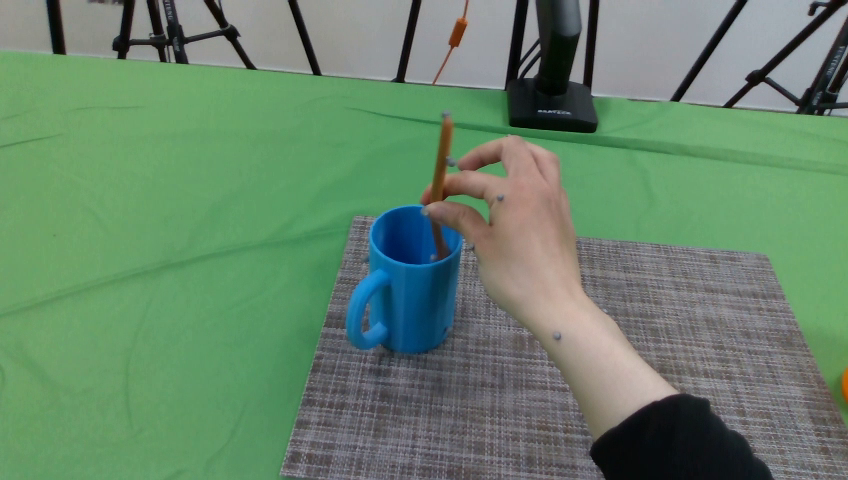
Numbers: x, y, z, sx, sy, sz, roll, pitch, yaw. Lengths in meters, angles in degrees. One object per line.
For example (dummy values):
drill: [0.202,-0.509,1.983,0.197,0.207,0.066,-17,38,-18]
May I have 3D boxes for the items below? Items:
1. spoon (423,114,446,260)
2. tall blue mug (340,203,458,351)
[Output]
spoon: [0.007,-0.015,0.466,0.021,0.195,0.041,2,50,6]
tall blue mug: [-0.018,0.043,0.510,0.077,0.109,0.106,12,43,7]
